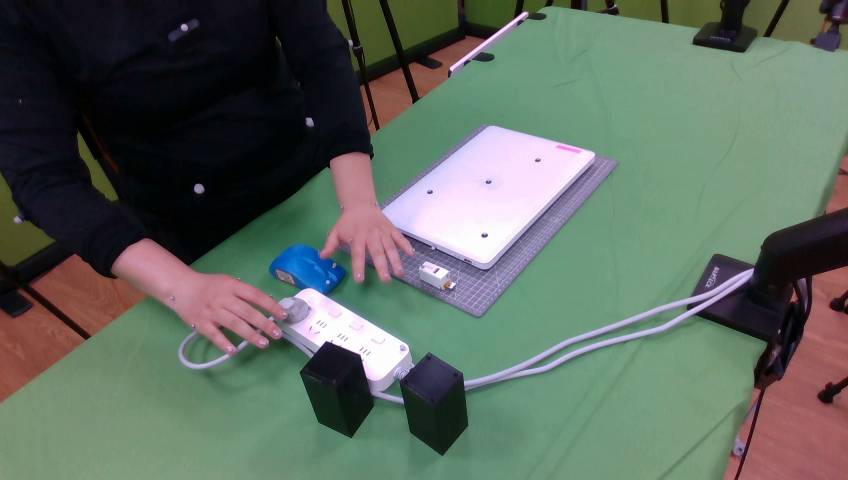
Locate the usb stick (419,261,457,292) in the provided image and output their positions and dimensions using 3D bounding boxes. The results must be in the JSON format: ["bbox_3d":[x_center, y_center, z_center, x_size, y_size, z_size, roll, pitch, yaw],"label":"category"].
[{"bbox_3d":[0.022,0.055,0.893,0.059,0.027,0.021,28,56,29],"label":"usb stick"}]

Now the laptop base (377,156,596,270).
[{"bbox_3d":[0.116,-0.086,1.056,0.233,0.023,0.355,21,48,34],"label":"laptop base"}]

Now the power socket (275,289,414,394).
[{"bbox_3d":[-0.115,0.133,0.820,0.225,0.033,0.072,25,49,32],"label":"power socket"}]

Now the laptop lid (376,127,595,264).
[{"bbox_3d":[0.112,-0.096,1.050,0.239,0.013,0.358,24,49,35],"label":"laptop lid"}]

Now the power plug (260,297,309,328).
[{"bbox_3d":[-0.193,0.107,0.831,0.073,0.053,0.035,-31,43,-25],"label":"power plug"}]

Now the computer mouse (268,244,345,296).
[{"bbox_3d":[-0.182,0.044,0.933,0.116,0.041,0.063,22,46,25],"label":"computer mouse"}]
